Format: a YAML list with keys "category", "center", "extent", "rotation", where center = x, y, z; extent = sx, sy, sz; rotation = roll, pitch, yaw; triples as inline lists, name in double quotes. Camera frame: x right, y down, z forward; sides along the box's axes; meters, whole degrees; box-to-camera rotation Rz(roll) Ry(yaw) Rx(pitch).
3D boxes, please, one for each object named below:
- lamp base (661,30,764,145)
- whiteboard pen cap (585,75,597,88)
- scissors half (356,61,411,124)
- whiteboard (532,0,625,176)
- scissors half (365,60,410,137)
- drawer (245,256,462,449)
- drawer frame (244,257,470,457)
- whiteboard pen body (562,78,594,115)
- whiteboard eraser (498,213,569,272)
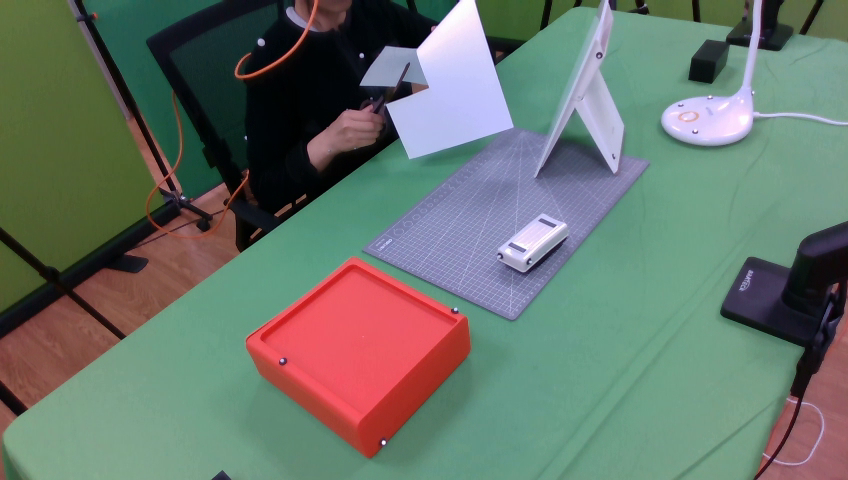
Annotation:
- category: "lamp base"
  center: [0.535, -0.287, 1.096]
  extent: [0.179, 0.181, 0.159]
  rotation: [-10, 40, -4]
- category: "whiteboard pen cap"
  center: [0.362, -0.343, 1.310]
  extent: [0.018, 0.018, 0.033]
  rotation: [20, 54, 30]
- category: "scissors half"
  center: [-0.078, -0.282, 1.153]
  extent: [0.013, 0.174, 0.040]
  rotation: [-24, 81, -53]
- category: "whiteboard"
  center: [0.320, -0.259, 1.050]
  extent: [0.144, 0.306, 0.217]
  rotation: [21, 45, 5]
- category: "scissors half"
  center: [-0.065, -0.266, 1.150]
  extent: [0.040, 0.175, 0.013]
  rotation: [40, 34, 12]
- category: "drawer"
  center: [-0.089, 0.136, 0.792]
  extent: [0.210, 0.073, 0.195]
  rotation: [27, 51, 34]
- category: "drawer frame"
  center: [-0.084, 0.138, 0.788]
  extent: [0.212, 0.083, 0.202]
  rotation: [25, 50, 33]
- category: "whiteboard pen body"
  center: [0.328, -0.306, 1.277]
  extent: [0.017, 0.017, 0.141]
  rotation: [20, 52, 30]
- category: "whiteboard eraser"
  center: [0.168, 0.006, 0.923]
  extent: [0.113, 0.042, 0.055]
  rotation: [-36, 48, -28]
